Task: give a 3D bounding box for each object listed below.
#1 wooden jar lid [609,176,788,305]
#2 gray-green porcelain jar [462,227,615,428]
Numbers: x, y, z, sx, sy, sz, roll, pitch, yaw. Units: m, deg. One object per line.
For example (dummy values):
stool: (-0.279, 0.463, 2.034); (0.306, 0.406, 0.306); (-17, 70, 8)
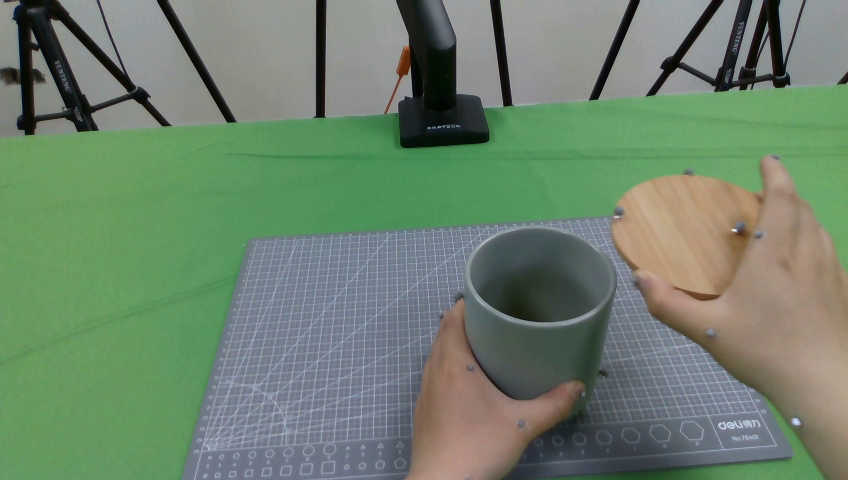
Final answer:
wooden jar lid: (0.175, 0.001, 0.394); (0.108, 0.021, 0.107); (-3, 46, 4)
gray-green porcelain jar: (0.082, 0.071, 0.460); (0.106, 0.127, 0.105); (-2, 40, 2)
